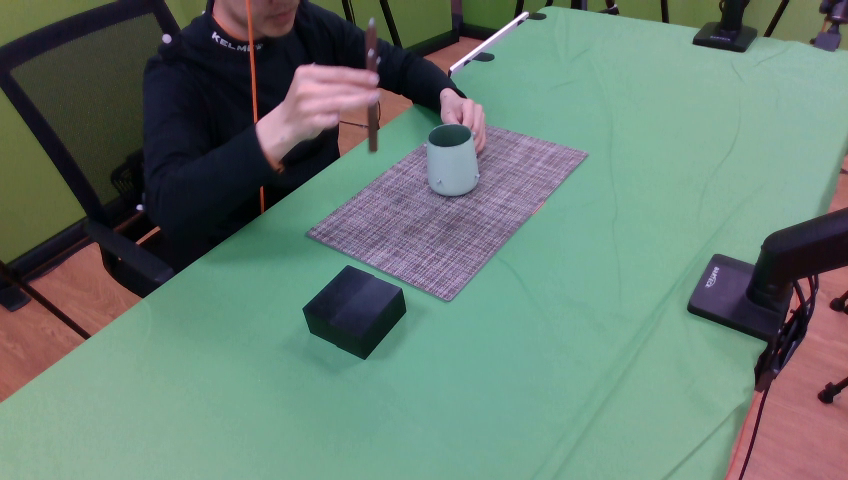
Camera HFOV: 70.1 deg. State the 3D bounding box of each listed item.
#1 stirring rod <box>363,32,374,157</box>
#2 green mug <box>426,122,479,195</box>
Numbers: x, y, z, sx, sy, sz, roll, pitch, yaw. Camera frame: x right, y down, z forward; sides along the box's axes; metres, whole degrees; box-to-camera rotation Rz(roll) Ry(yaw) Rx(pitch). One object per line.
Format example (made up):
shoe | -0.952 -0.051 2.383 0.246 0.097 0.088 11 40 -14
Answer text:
stirring rod | -0.073 -0.188 0.800 0.014 0.176 0.005 -13 41 -20
green mug | 0.053 -0.151 1.067 0.092 0.105 0.125 5 42 15
